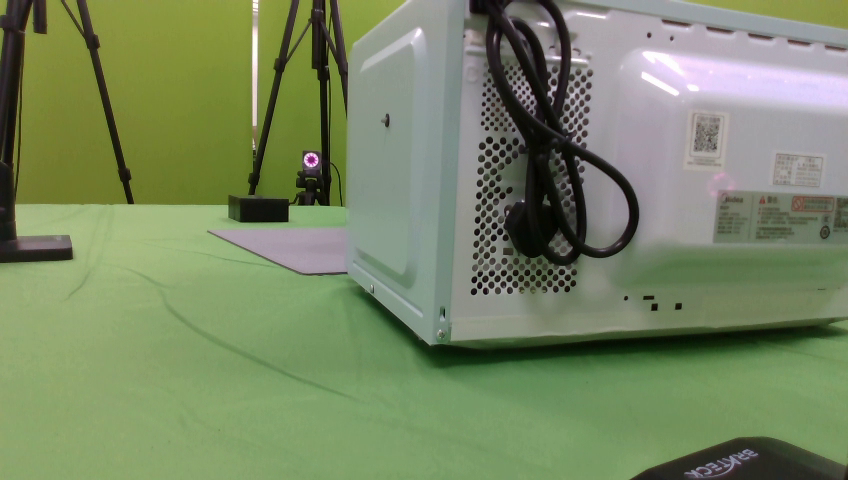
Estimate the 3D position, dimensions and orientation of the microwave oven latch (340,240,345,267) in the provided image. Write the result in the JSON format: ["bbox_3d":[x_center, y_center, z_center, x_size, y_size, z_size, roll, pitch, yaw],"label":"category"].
[{"bbox_3d":[-0.052,0.016,0.662,0.079,0.029,0.030,1,7,-18],"label":"microwave oven latch"}]

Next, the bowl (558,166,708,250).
[{"bbox_3d":[0.214,-0.035,0.640,0.151,0.077,0.151,2,11,0],"label":"bowl"}]

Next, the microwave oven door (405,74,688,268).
[{"bbox_3d":[0.155,-0.095,0.810,0.355,0.243,0.039,3,8,9],"label":"microwave oven door"}]

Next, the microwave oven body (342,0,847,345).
[{"bbox_3d":[0.169,-0.060,0.573,0.444,0.260,0.324,1,7,-20],"label":"microwave oven body"}]
